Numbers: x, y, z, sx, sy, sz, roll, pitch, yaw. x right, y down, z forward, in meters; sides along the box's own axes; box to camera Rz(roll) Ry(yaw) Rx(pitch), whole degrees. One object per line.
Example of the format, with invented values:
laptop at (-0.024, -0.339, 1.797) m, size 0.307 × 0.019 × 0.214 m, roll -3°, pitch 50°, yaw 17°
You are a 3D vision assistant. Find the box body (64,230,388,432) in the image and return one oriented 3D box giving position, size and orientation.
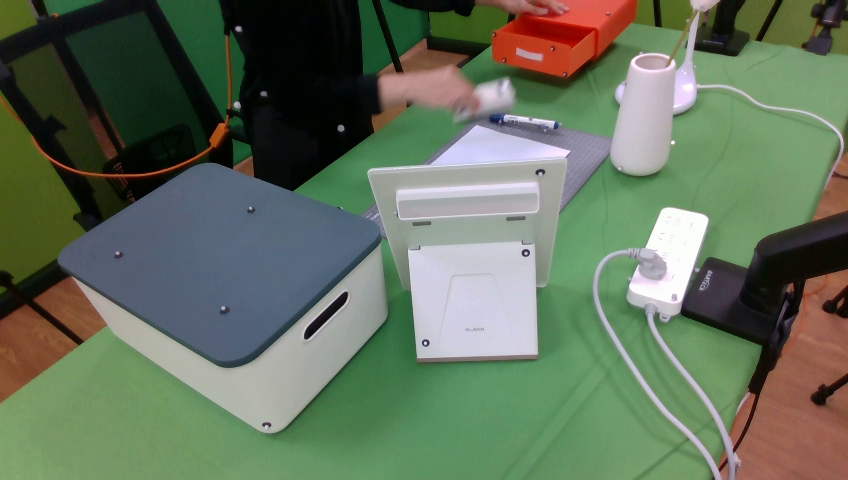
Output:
box body at (-0.256, 0.065, 0.827) m, size 0.361 × 0.161 × 0.255 m, roll 20°, pitch 48°, yaw 29°

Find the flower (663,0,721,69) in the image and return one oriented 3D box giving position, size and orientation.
flower at (0.379, -0.261, 0.965) m, size 0.044 × 0.362 × 0.038 m, roll 20°, pitch 52°, yaw 5°

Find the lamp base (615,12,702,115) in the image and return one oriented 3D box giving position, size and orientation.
lamp base at (0.484, -0.364, 1.211) m, size 0.180 × 0.181 × 0.159 m, roll -15°, pitch 41°, yaw -13°

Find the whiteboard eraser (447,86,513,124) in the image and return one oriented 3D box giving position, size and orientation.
whiteboard eraser at (0.101, -0.242, 1.096) m, size 0.113 × 0.042 × 0.055 m, roll -12°, pitch 50°, yaw 0°

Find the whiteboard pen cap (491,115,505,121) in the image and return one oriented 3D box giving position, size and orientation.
whiteboard pen cap at (0.154, -0.254, 1.250) m, size 0.033 × 0.018 × 0.018 m, roll 15°, pitch 45°, yaw 26°

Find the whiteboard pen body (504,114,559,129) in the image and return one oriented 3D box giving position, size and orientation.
whiteboard pen body at (0.205, -0.242, 1.224) m, size 0.140 × 0.017 × 0.017 m, roll 14°, pitch 45°, yaw 26°

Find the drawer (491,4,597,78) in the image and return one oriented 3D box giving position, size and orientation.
drawer at (0.288, -0.453, 1.353) m, size 0.193 × 0.073 × 0.212 m, roll 24°, pitch 49°, yaw 32°

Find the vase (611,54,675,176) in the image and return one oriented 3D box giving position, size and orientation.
vase at (0.377, -0.209, 1.031) m, size 0.098 × 0.201 × 0.097 m, roll -3°, pitch 40°, yaw 3°

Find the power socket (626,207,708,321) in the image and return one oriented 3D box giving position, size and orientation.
power socket at (0.359, 0.025, 0.886) m, size 0.072 × 0.033 × 0.227 m, roll 16°, pitch 46°, yaw 26°

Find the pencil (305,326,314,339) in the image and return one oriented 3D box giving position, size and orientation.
pencil at (-0.187, 0.106, 0.880) m, size 0.012 × 0.012 × 0.192 m, roll -27°, pitch 41°, yaw -22°

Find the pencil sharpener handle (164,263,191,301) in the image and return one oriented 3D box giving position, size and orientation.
pencil sharpener handle at (-0.354, 0.055, 0.866) m, size 0.036 × 0.068 × 0.030 m, roll -17°, pitch 39°, yaw -29°

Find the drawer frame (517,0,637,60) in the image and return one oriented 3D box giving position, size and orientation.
drawer frame at (0.356, -0.516, 1.415) m, size 0.200 × 0.083 × 0.214 m, roll 22°, pitch 51°, yaw 31°

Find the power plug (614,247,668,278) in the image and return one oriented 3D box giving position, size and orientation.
power plug at (0.306, 0.031, 0.851) m, size 0.072 × 0.053 × 0.035 m, roll 24°, pitch 49°, yaw 33°

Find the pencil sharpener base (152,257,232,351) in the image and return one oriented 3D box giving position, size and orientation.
pencil sharpener base at (-0.322, 0.088, 0.841) m, size 0.061 × 0.107 × 0.076 m, roll -28°, pitch 44°, yaw -20°

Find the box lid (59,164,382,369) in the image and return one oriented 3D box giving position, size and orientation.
box lid at (-0.263, 0.010, 0.777) m, size 0.368 × 0.015 × 0.264 m, roll 20°, pitch 47°, yaw 29°

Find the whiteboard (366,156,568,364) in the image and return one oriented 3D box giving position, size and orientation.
whiteboard at (0.059, 0.050, 0.738) m, size 0.217 × 0.307 × 0.143 m, roll -2°, pitch 60°, yaw 6°
